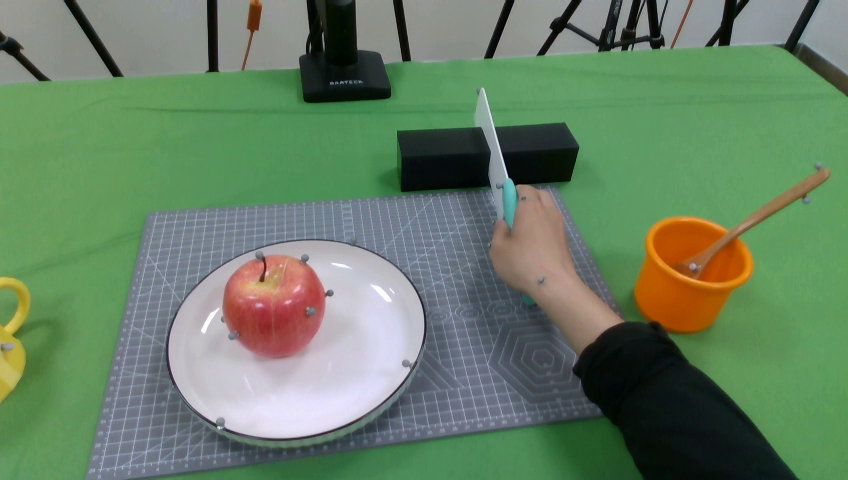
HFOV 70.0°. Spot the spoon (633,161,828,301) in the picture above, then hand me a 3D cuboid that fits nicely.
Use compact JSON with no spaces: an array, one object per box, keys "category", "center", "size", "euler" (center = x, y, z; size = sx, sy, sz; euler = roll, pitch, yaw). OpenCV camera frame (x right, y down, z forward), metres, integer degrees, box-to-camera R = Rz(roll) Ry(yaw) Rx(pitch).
[{"category":"spoon","center":[0.274,-0.007,0.547],"size":[0.022,0.194,0.041],"euler":[32,26,-37]}]

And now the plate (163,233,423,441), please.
[{"category":"plate","center":[-0.105,0.077,0.509],"size":[0.209,0.038,0.207],"euler":[2,44,-2]}]

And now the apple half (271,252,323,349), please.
[{"category":"apple half","center":[-0.099,0.051,0.497],"size":[0.033,0.082,0.080],"euler":[0,44,4]}]

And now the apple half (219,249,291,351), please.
[{"category":"apple half","center":[-0.138,0.049,0.497],"size":[0.053,0.075,0.080],"euler":[1,47,4]}]

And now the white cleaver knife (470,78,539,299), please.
[{"category":"white cleaver knife","center":[0.080,-0.061,0.642],"size":[0.021,0.066,0.283],"euler":[-2,55,-7]}]

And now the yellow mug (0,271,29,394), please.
[{"category":"yellow mug","center":[-0.371,0.074,0.476],"size":[0.099,0.064,0.130],"euler":[20,45,16]}]
